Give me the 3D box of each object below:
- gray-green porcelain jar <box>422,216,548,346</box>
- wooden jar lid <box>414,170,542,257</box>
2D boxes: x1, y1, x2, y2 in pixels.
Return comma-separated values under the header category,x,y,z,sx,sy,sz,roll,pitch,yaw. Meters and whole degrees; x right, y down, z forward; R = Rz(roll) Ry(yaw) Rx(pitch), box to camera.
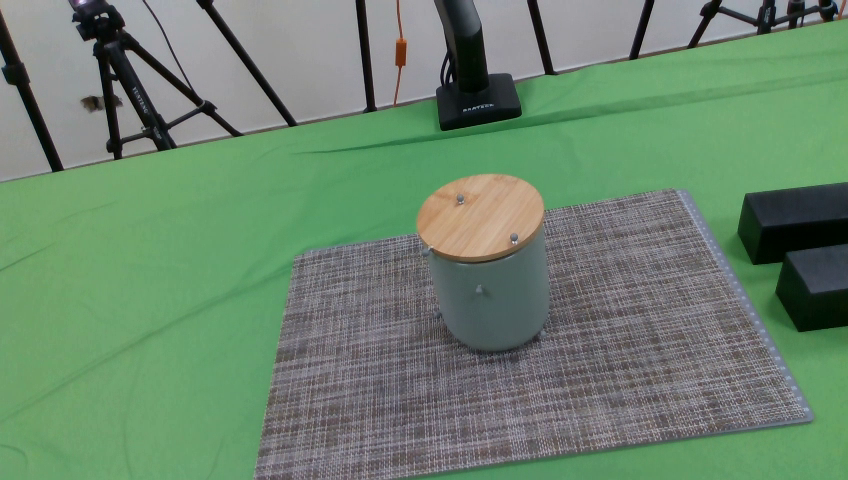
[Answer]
category,x,y,z,sx,sy,sz,roll,pitch,yaw
gray-green porcelain jar,0.059,0.026,0.556,0.106,0.128,0.105,-8,42,8
wooden jar lid,0.046,-0.020,0.513,0.108,0.021,0.107,-8,43,8
